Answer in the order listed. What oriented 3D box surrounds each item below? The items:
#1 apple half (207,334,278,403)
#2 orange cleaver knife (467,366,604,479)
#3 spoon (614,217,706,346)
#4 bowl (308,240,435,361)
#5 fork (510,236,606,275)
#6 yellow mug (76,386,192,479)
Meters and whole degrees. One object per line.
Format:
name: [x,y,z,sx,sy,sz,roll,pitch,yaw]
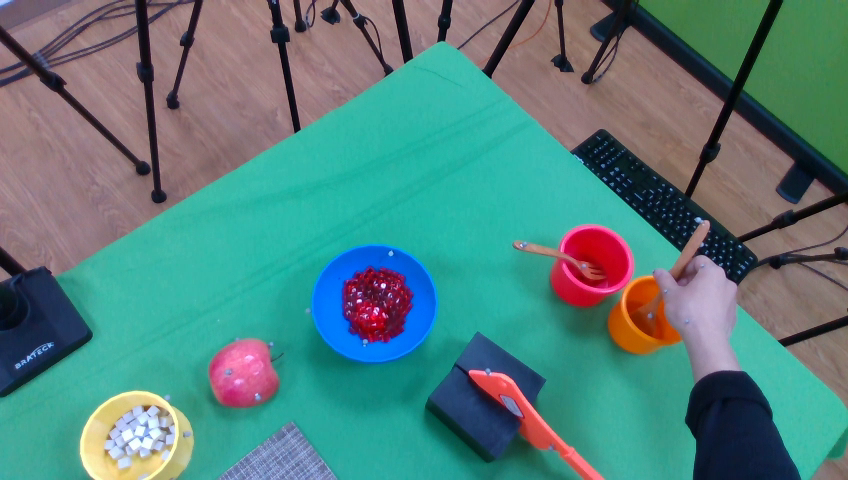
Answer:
apple half: [-0.217,0.148,0.712,0.075,0.054,0.080,-15,67,-11]
orange cleaver knife: [0.130,0.219,0.702,0.212,0.077,0.012,47,60,-8]
spoon: [0.294,0.055,0.749,0.041,0.194,0.021,31,31,13]
bowl: [-0.065,0.084,0.746,0.151,0.077,0.150,3,65,-5]
fork: [0.174,0.019,0.766,0.209,0.018,0.028,17,52,-45]
yellow mug: [-0.319,0.228,0.654,0.100,0.064,0.130,25,65,6]
